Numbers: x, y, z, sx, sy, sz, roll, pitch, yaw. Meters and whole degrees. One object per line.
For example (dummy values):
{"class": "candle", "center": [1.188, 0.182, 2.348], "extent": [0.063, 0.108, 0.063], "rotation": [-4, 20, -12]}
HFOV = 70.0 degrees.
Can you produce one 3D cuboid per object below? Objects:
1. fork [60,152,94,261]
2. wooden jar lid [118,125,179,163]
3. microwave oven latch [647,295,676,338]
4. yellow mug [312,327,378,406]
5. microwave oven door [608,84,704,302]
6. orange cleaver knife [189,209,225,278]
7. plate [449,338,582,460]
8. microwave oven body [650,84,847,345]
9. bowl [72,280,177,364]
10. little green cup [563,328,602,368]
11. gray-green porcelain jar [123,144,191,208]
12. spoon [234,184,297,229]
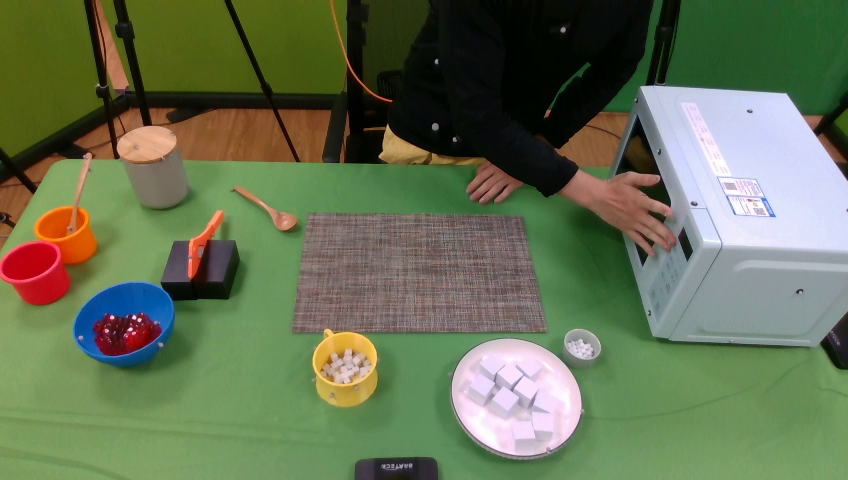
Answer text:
{"class": "fork", "center": [-0.638, -0.063, 1.120], "extent": [0.028, 0.018, 0.207], "rotation": [12, 90, 6]}
{"class": "wooden jar lid", "center": [-0.528, -0.181, 1.167], "extent": [0.108, 0.021, 0.107], "rotation": [4, 48, -4]}
{"class": "microwave oven latch", "center": [0.413, 0.133, 1.060], "extent": [0.030, 0.029, 0.078], "rotation": [4, 46, 1]}
{"class": "yellow mug", "center": [-0.132, 0.193, 0.971], "extent": [0.100, 0.064, 0.130], "rotation": [-22, 51, -22]}
{"class": "microwave oven door", "center": [0.425, -0.096, 1.138], "extent": [0.039, 0.245, 0.353], "rotation": [2, 47, -1]}
{"class": "orange cleaver knife", "center": [-0.401, 0.002, 1.122], "extent": [0.012, 0.077, 0.210], "rotation": [4, 23, -4]}
{"class": "plate", "center": [0.141, 0.251, 0.956], "extent": [0.208, 0.039, 0.206], "rotation": [2, 46, -2]}
{"class": "microwave oven body", "center": [0.569, -0.054, 1.116], "extent": [0.326, 0.261, 0.439], "rotation": [2, 46, -1]}
{"class": "bowl", "center": [-0.473, 0.146, 0.982], "extent": [0.151, 0.077, 0.150], "rotation": [2, 46, -2]}
{"class": "little green cup", "center": [0.265, 0.184, 1.025], "extent": [0.061, 0.039, 0.061], "rotation": [1, 46, -1]}
{"class": "gray-green porcelain jar", "center": [-0.531, -0.137, 1.214], "extent": [0.106, 0.127, 0.105], "rotation": [2, 47, -2]}
{"class": "spoon", "center": [-0.328, -0.073, 1.240], "extent": [0.193, 0.022, 0.041], "rotation": [34, 70, 25]}
